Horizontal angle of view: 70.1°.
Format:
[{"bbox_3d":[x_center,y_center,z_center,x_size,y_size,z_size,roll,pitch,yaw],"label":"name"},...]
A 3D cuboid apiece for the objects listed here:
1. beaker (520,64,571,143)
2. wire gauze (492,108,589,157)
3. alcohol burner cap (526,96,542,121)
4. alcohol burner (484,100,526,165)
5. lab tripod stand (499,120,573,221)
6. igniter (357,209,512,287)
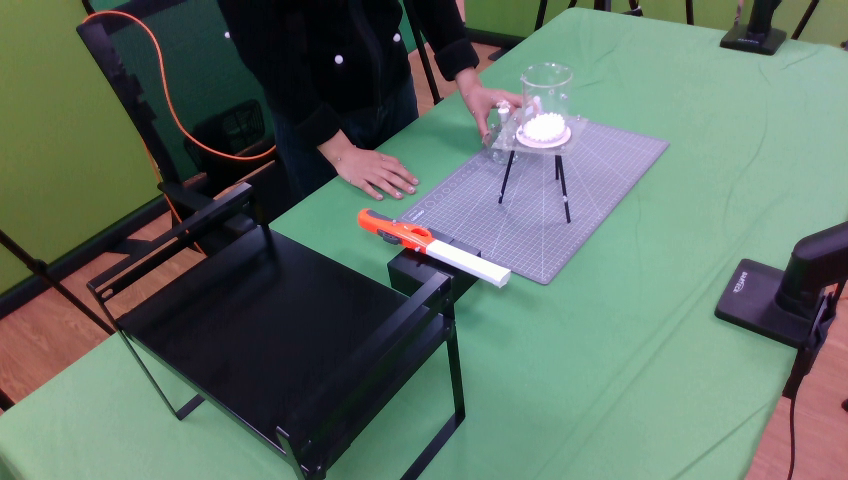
[{"bbox_3d":[0.187,-0.208,0.924,0.073,0.101,0.084,23,49,30],"label":"beaker"},{"bbox_3d":[0.185,-0.169,0.954,0.121,0.011,0.125,13,46,22],"label":"wire gauze"},{"bbox_3d":[0.225,-0.272,1.243,0.034,0.048,0.033,-5,41,5],"label":"alcohol burner cap"},{"bbox_3d":[0.148,-0.201,1.115,0.078,0.119,0.077,-6,39,5],"label":"alcohol burner"},{"bbox_3d":[0.198,-0.117,0.992,0.148,0.132,0.147,-3,40,3],"label":"lab tripod stand"},{"bbox_3d":[0.004,0.006,0.891,0.274,0.025,0.057,23,37,30],"label":"igniter"}]
